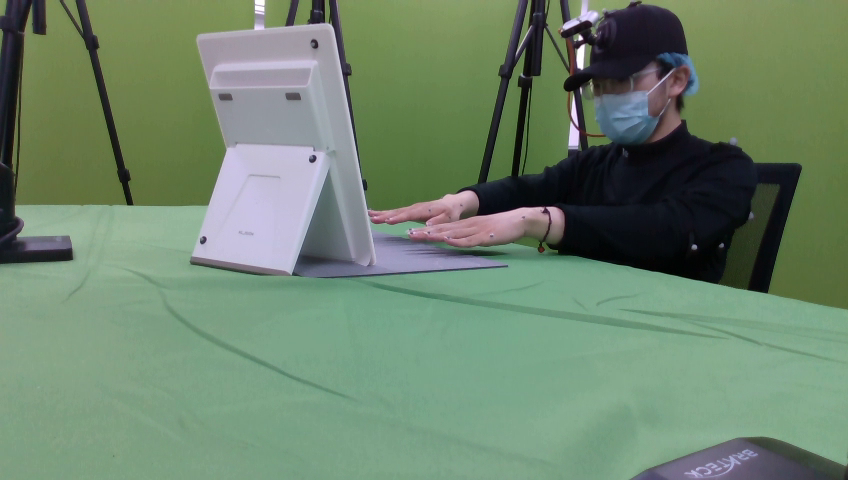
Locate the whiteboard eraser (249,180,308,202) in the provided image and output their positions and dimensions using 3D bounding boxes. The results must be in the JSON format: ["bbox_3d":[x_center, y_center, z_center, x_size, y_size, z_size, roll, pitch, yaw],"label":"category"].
[{"bbox_3d":[-0.303,-0.103,1.263,0.113,0.042,0.055,-8,18,-37],"label":"whiteboard eraser"}]

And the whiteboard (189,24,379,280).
[{"bbox_3d":[-0.207,-0.085,0.729,0.216,0.305,0.144,7,30,30],"label":"whiteboard"}]
